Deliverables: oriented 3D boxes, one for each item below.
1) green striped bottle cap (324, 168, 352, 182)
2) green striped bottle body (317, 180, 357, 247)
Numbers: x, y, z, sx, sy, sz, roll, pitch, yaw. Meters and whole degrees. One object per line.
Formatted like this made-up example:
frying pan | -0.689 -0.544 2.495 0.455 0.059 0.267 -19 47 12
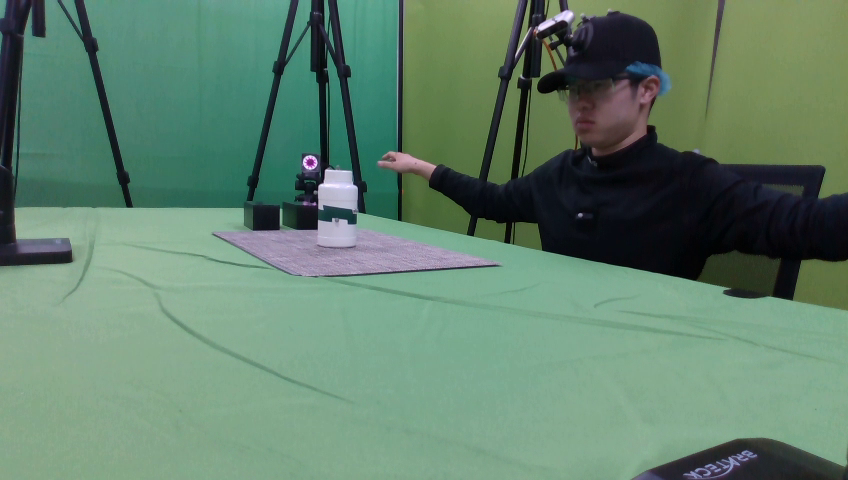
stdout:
green striped bottle cap | -0.136 -0.103 0.959 0.044 0.020 0.044 4 9 0
green striped bottle body | -0.139 -0.051 0.964 0.063 0.119 0.063 2 7 0
